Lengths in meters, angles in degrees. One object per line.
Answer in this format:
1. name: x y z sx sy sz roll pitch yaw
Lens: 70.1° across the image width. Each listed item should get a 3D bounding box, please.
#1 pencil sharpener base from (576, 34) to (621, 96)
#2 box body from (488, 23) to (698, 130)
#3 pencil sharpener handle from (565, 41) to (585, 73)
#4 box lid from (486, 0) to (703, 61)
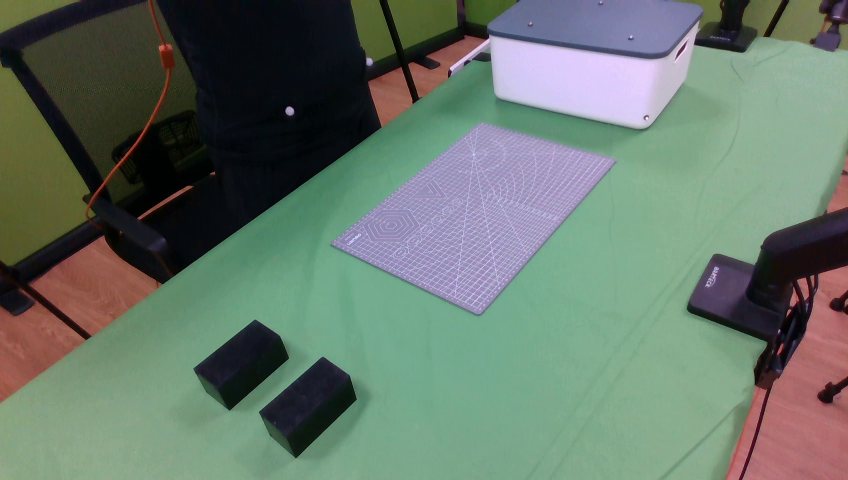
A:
1. pencil sharpener base: 0.363 -0.368 1.272 0.076 0.107 0.061 22 49 30
2. box body: 0.345 -0.379 1.257 0.361 0.161 0.255 20 48 29
3. pencil sharpener handle: 0.319 -0.392 1.288 0.030 0.068 0.036 22 39 30
4. box lid: 0.338 -0.435 1.208 0.369 0.015 0.264 20 47 29
